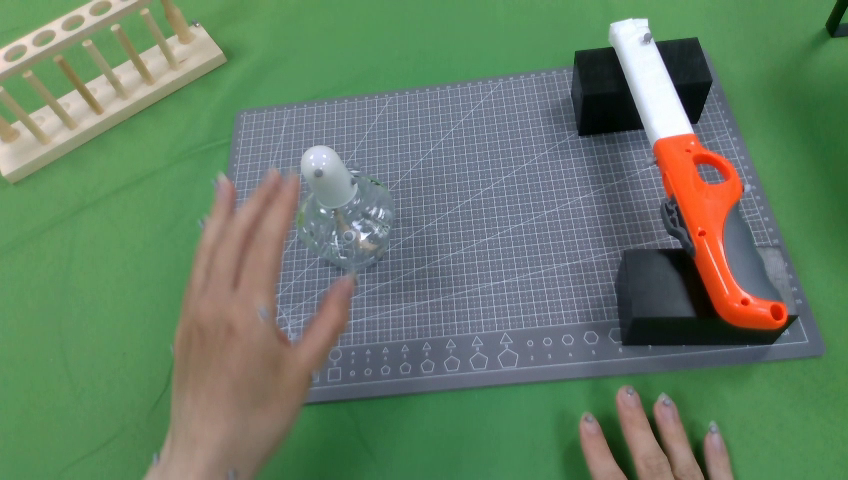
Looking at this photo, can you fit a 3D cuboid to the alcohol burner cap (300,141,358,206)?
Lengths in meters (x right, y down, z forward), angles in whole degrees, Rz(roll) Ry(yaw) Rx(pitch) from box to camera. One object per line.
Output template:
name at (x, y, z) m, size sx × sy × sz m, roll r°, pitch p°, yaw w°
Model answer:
alcohol burner cap at (-0.069, -0.049, 0.426) m, size 0.034 × 0.048 × 0.033 m, roll -5°, pitch 62°, yaw 10°

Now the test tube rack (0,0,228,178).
test tube rack at (-0.329, -0.169, 0.595) m, size 0.242 × 0.086 × 0.066 m, roll -34°, pitch 61°, yaw -11°

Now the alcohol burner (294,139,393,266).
alcohol burner at (-0.064, -0.031, 0.456) m, size 0.078 × 0.120 × 0.077 m, roll -4°, pitch 57°, yaw 7°

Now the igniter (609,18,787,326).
igniter at (0.183, -0.063, 0.431) m, size 0.057 × 0.025 × 0.274 m, roll -10°, pitch 57°, yaw 4°
